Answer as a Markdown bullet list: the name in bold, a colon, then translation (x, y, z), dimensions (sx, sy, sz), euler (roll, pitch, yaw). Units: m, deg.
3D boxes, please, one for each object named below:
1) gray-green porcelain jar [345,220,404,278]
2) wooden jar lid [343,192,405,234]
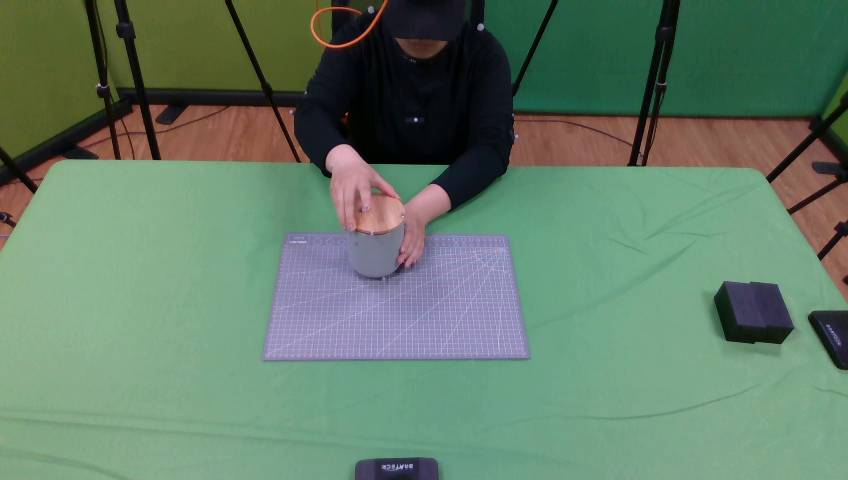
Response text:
- **gray-green porcelain jar**: translation (-0.091, -0.001, 1.117), dimensions (0.106, 0.127, 0.105), euler (3, 46, -2)
- **wooden jar lid**: translation (-0.088, -0.044, 1.072), dimensions (0.108, 0.021, 0.107), euler (4, 44, -4)
